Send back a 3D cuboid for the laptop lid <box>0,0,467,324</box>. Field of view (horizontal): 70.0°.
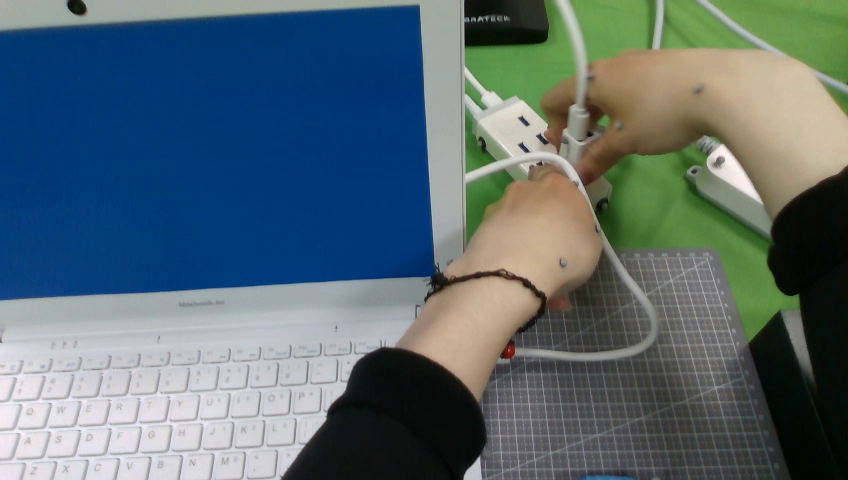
[{"bbox_3d":[-0.153,-0.035,0.341,0.357,0.244,0.013,-4,42,1],"label":"laptop lid"}]

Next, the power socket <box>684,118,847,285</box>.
[{"bbox_3d":[0.304,-0.014,0.443,0.072,0.033,0.224,-37,62,-21],"label":"power socket"}]

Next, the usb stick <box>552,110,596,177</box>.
[{"bbox_3d":[0.109,-0.067,0.446,0.021,0.059,0.027,37,75,22],"label":"usb stick"}]

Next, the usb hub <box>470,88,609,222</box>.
[{"bbox_3d":[0.090,-0.072,0.495,0.049,0.025,0.124,-28,60,-15],"label":"usb hub"}]

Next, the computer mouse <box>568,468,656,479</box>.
[{"bbox_3d":[0.103,0.176,0.314,0.062,0.041,0.116,8,52,11],"label":"computer mouse"}]

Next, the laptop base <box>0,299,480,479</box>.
[{"bbox_3d":[-0.142,0.150,0.356,0.354,0.023,0.233,-3,59,0],"label":"laptop base"}]
